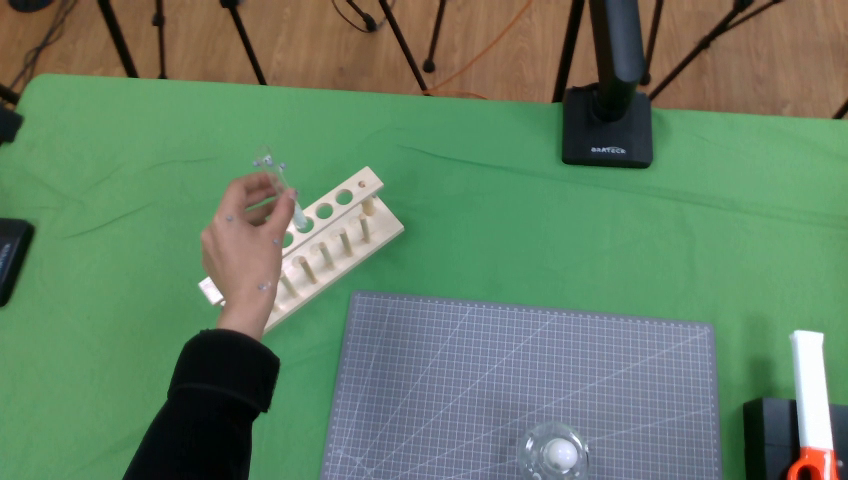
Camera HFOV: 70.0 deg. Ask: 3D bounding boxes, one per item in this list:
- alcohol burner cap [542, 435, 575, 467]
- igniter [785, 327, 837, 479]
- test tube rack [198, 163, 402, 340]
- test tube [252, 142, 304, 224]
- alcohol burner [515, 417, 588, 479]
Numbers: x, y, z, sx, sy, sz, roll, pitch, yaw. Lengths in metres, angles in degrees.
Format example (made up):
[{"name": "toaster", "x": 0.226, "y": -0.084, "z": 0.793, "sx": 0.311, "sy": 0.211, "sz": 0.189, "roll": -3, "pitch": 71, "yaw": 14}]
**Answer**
[{"name": "alcohol burner cap", "x": 0.137, "y": 0.211, "z": 0.606, "sx": 0.034, "sy": 0.048, "sz": 0.033, "roll": -2, "pitch": 70, "yaw": 6}, {"name": "igniter", "x": 0.404, "y": 0.225, "z": 0.628, "sx": 0.057, "sy": 0.025, "sz": 0.274, "roll": 7, "pitch": 66, "yaw": 7}, {"name": "test tube rack", "x": -0.146, "y": 0.015, "z": 0.751, "sx": 0.242, "sy": 0.086, "sz": 0.066, "roll": -37, "pitch": 71, "yaw": -12}, {"name": "test tube", "x": -0.146, "y": -0.053, "z": 0.619, "sx": 0.017, "sy": 0.151, "sz": 0.017, "roll": -1, "pitch": 66, "yaw": 3}, {"name": "alcohol burner", "x": 0.137, "y": 0.224, "z": 0.639, "sx": 0.078, "sy": 0.120, "sz": 0.077, "roll": 0, "pitch": 66, "yaw": 0}]
